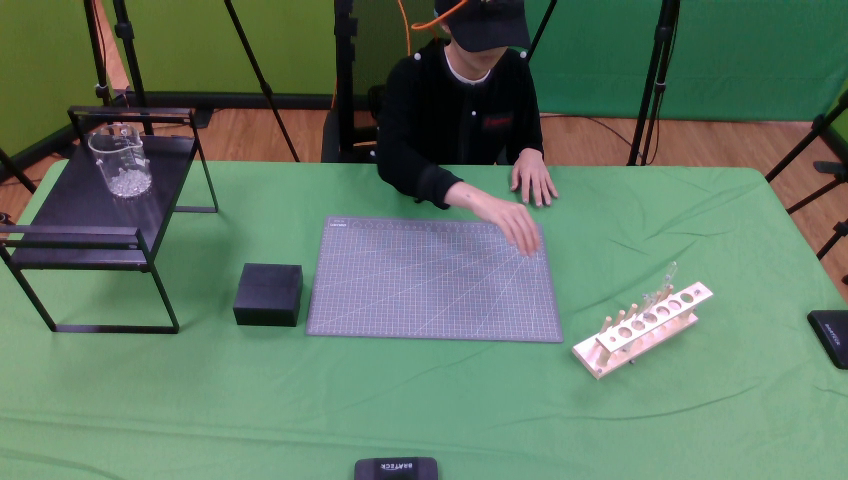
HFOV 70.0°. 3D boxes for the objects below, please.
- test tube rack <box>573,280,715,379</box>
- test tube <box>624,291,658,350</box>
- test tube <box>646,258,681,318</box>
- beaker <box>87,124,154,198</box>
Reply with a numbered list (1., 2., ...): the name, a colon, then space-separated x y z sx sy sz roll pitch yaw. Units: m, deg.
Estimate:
1. test tube rack: 0.378 0.140 1.038 0.242 0.085 0.066 -22 51 -23
2. test tube: 0.348 0.133 0.974 0.017 0.151 0.017 1 47 -1
3. test tube: 0.406 0.084 1.032 0.017 0.151 0.017 2 47 -1
4. beaker: -0.482 -0.124 0.978 0.084 0.101 0.073 9 46 4
